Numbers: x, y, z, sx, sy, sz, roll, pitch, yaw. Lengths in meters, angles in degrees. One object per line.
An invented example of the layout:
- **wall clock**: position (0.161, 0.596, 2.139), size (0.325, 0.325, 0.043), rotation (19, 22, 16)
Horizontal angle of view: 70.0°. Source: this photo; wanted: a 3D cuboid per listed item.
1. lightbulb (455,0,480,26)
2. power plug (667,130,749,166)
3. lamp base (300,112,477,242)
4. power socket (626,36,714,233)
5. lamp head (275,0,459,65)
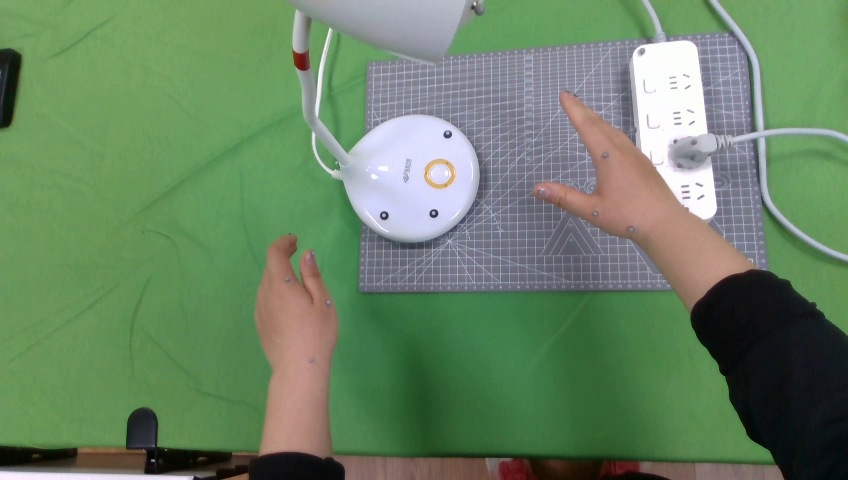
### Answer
- **lightbulb**: position (-0.016, -0.162, 0.357), size (0.108, 0.059, 0.059), rotation (13, 80, -14)
- **power plug**: position (0.296, -0.094, 0.640), size (0.072, 0.053, 0.035), rotation (8, 81, 10)
- **lamp base**: position (-0.045, -0.091, 0.650), size (0.179, 0.181, 0.160), rotation (-6, 77, 13)
- **power socket**: position (0.270, -0.121, 0.670), size (0.072, 0.033, 0.225), rotation (-4, 78, 10)
- **lamp head**: position (-0.041, -0.168, 0.357), size (0.123, 0.112, 0.112), rotation (4, 79, -10)
